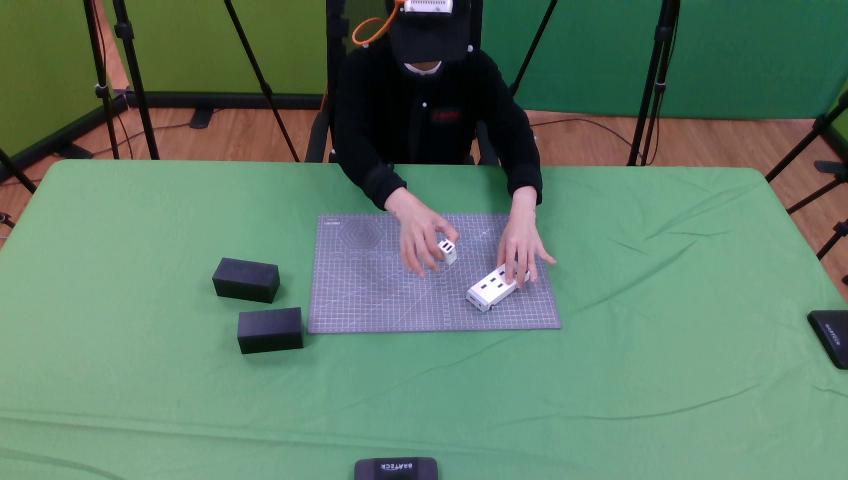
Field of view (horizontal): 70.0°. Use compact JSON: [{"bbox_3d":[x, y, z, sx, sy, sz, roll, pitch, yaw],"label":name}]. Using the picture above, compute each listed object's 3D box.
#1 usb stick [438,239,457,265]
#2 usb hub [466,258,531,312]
[{"bbox_3d":[0.041,0.024,1.057,0.027,0.059,0.021,37,70,23],"label":"usb stick"},{"bbox_3d":[0.139,0.083,1.120,0.125,0.025,0.049,-32,57,-29],"label":"usb hub"}]
